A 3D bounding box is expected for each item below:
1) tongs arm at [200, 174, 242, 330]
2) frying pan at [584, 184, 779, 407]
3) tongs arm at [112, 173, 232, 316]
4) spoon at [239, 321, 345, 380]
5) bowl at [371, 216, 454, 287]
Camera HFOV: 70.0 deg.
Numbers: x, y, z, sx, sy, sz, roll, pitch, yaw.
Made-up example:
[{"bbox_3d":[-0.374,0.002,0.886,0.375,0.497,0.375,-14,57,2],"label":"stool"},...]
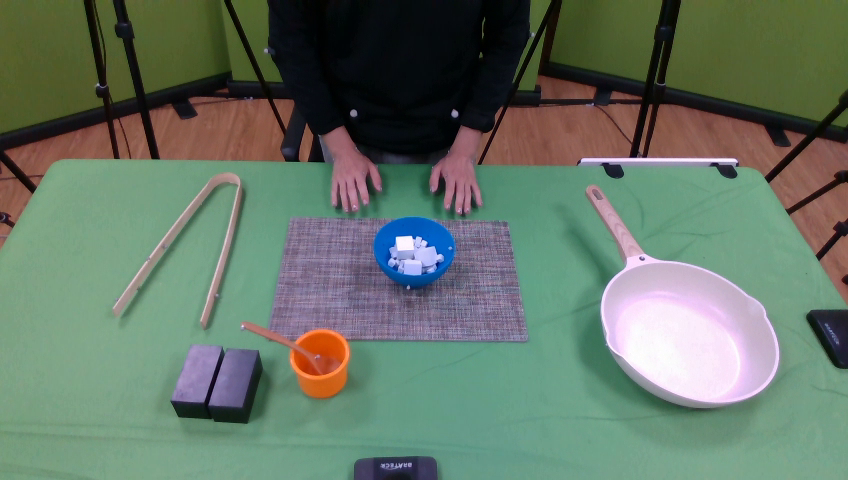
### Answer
[{"bbox_3d":[-0.387,0.008,1.158,0.028,0.028,0.385,-1,46,-3],"label":"tongs arm"},{"bbox_3d":[0.412,0.079,1.097,0.307,0.103,0.484,-10,56,-15],"label":"frying pan"},{"bbox_3d":[-0.467,-0.005,1.157,0.051,0.026,0.382,11,45,4],"label":"tongs arm"},{"bbox_3d":[-0.200,0.168,0.934,0.021,0.195,0.041,-34,36,25],"label":"spoon"},{"bbox_3d":[-0.022,0.034,1.119,0.151,0.077,0.150,2,46,-2],"label":"bowl"}]
